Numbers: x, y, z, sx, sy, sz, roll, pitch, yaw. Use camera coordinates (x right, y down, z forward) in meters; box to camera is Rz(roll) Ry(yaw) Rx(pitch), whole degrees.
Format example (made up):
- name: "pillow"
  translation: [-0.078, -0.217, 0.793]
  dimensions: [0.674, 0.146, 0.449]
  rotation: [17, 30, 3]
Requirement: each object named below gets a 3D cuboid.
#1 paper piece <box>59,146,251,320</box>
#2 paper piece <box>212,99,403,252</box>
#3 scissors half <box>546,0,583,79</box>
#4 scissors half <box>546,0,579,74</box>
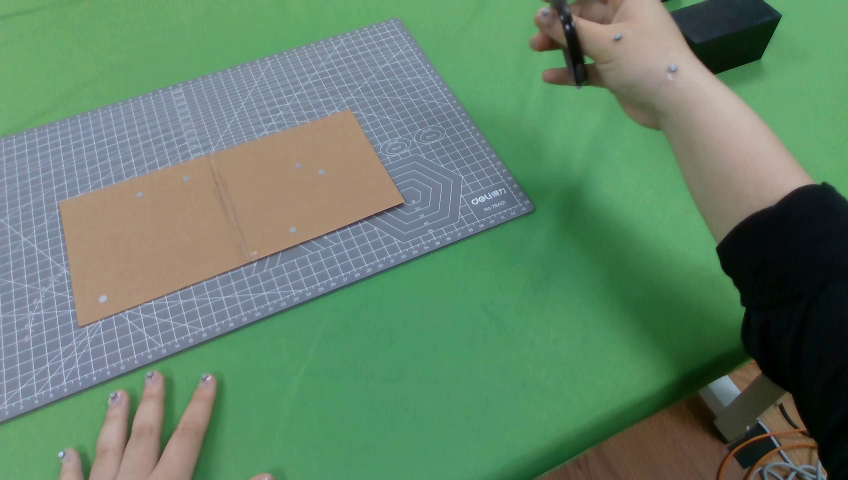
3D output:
- name: "paper piece"
  translation: [-0.227, -0.014, 0.504]
  dimensions: [0.138, 0.009, 0.134]
  rotation: [-22, 54, -11]
- name: "paper piece"
  translation: [-0.106, -0.064, 0.532]
  dimensions: [0.135, 0.004, 0.134]
  rotation: [-22, 57, -11]
- name: "scissors half"
  translation: [0.080, -0.196, 0.410]
  dimensions: [0.013, 0.040, 0.176]
  rotation: [-17, 100, 11]
- name: "scissors half"
  translation: [0.083, -0.204, 0.428]
  dimensions: [0.013, 0.176, 0.040]
  rotation: [-15, 26, 16]
